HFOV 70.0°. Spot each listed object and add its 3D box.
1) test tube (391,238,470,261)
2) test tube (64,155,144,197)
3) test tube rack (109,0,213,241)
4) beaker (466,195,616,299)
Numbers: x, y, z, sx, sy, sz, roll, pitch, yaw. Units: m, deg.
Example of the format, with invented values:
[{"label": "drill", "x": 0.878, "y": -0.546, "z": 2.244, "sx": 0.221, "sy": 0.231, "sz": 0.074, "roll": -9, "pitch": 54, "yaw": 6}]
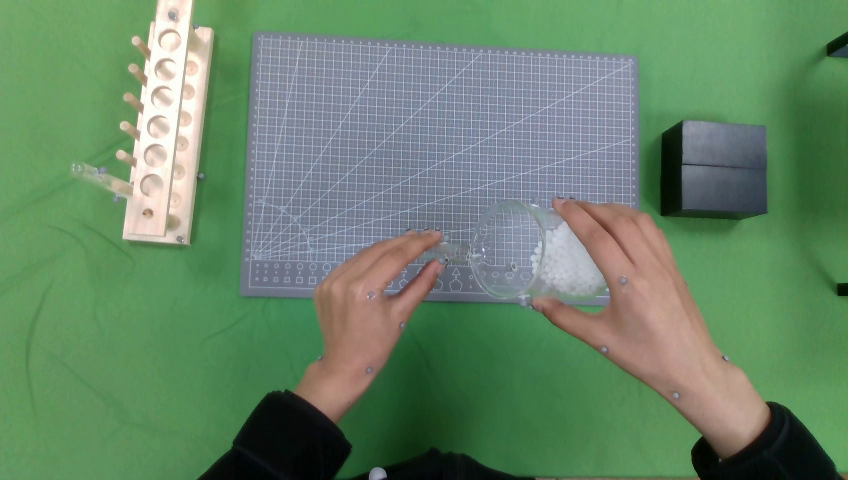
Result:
[{"label": "test tube", "x": 0.001, "y": 0.007, "z": 0.545, "sx": 0.017, "sy": 0.149, "sz": 0.017, "roll": -1, "pitch": 92, "yaw": -23}, {"label": "test tube", "x": -0.298, "y": -0.057, "z": 0.572, "sx": 0.017, "sy": 0.150, "sz": 0.017, "roll": 0, "pitch": 85, "yaw": -5}, {"label": "test tube rack", "x": -0.276, "y": -0.125, "z": 0.625, "sx": 0.067, "sy": 0.085, "sz": 0.241, "roll": 5, "pitch": 84, "yaw": -5}, {"label": "beaker", "x": 0.093, "y": 0.010, "z": 0.474, "sx": 0.101, "sy": 0.083, "sz": 0.073, "roll": 7, "pitch": 79, "yaw": -39}]
